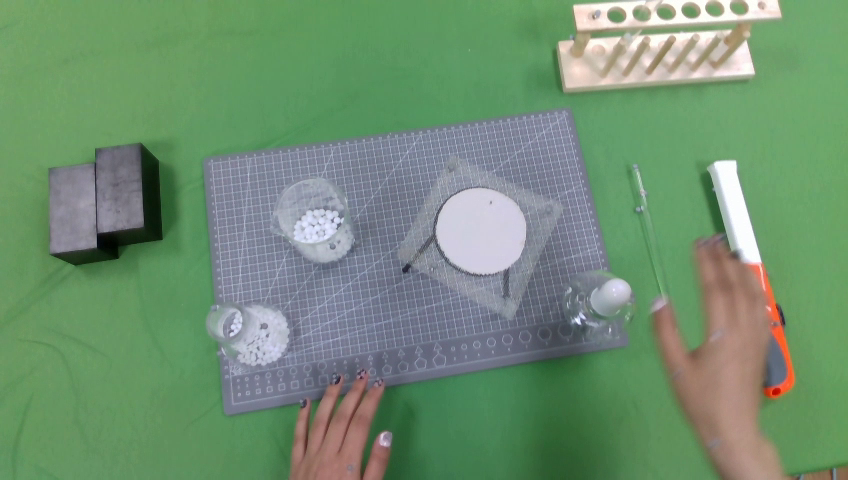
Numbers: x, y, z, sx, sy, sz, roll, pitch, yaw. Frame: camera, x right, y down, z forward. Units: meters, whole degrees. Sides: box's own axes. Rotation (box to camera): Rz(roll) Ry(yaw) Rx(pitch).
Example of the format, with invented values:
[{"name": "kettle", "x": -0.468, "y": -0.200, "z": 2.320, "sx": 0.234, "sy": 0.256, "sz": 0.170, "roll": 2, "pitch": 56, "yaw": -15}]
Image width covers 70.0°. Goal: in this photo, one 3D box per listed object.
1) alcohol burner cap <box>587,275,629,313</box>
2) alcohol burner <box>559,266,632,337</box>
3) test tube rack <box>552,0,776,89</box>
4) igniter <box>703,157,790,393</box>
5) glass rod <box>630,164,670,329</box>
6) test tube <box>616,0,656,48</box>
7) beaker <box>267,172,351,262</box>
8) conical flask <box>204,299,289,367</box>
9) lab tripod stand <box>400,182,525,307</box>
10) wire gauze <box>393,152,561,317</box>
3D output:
[{"name": "alcohol burner cap", "x": 0.185, "y": 0.051, "z": 0.602, "sx": 0.034, "sy": 0.048, "sz": 0.033, "roll": 2, "pitch": 69, "yaw": -4}, {"name": "alcohol burner", "x": 0.184, "y": 0.062, "z": 0.637, "sx": 0.078, "sy": 0.119, "sz": 0.077, "roll": 0, "pitch": 75, "yaw": 1}, {"name": "test tube rack", "x": 0.288, "y": -0.243, "z": 0.735, "sx": 0.242, "sy": 0.085, "sz": 0.066, "roll": -5, "pitch": 75, "yaw": -3}, {"name": "igniter", "x": 0.370, "y": 0.034, "z": 0.698, "sx": 0.057, "sy": 0.025, "sz": 0.275, "roll": -4, "pitch": 76, "yaw": -14}, {"name": "glass rod", "x": 0.265, "y": 0.005, "z": 0.711, "sx": 0.008, "sy": 0.008, "sz": 0.199, "roll": -7, "pitch": 79, "yaw": -4}, {"name": "test tube", "x": 0.250, "y": -0.266, "z": 0.690, "sx": 0.017, "sy": 0.151, "sz": 0.017, "roll": 2, "pitch": 74, "yaw": -5}, {"name": "beaker", "x": -0.120, "y": -0.019, "z": 0.654, "sx": 0.084, "sy": 0.100, "sz": 0.073, "roll": -25, "pitch": 77, "yaw": -7}, {"name": "conical flask", "x": -0.184, "y": 0.088, "z": 0.613, "sx": 0.075, "sy": 0.122, "sz": 0.075, "roll": 1, "pitch": 75, "yaw": -2}, {"name": "lab tripod stand", "x": 0.046, "y": 0.006, "z": 0.636, "sx": 0.148, "sy": 0.132, "sz": 0.147, "roll": 0, "pitch": 77, "yaw": -1}, {"name": "wire gauze", "x": 0.051, "y": -0.009, "z": 0.571, "sx": 0.125, "sy": 0.011, "sz": 0.121, "roll": 27, "pitch": 78, "yaw": 5}]
